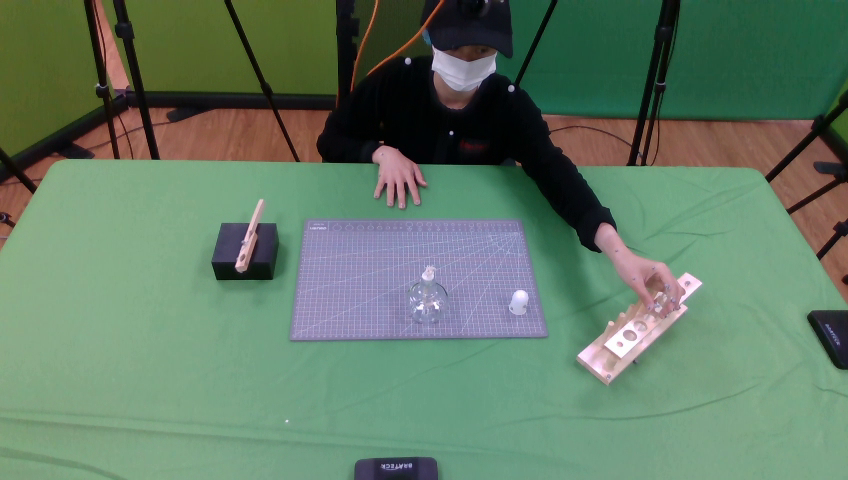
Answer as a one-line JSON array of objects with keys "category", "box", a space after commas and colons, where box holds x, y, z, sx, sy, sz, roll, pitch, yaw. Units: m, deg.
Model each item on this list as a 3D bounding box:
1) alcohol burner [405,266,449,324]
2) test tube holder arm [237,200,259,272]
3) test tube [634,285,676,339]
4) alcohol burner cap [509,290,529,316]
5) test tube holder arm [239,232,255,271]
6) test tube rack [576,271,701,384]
[{"category": "alcohol burner", "box": [0.005, 0.089, 1.043, 0.078, 0.120, 0.077, 1, 45, -1]}, {"category": "test tube holder arm", "box": [-0.325, -0.012, 1.120, 0.013, 0.015, 0.177, 1, 45, -5]}, {"category": "test tube", "box": [0.375, 0.122, 0.993, 0.017, 0.151, 0.017, 3, 50, -3]}, {"category": "alcohol burner cap", "box": [0.171, 0.110, 1.086, 0.034, 0.048, 0.033, 2, 45, -1]}, {"category": "test tube holder arm", "box": [-0.317, 0.020, 1.089, 0.010, 0.015, 0.087, 3, 45, -4]}, {"category": "test tube rack", "box": [0.373, 0.138, 1.047, 0.242, 0.085, 0.066, -31, 56, -29]}]
